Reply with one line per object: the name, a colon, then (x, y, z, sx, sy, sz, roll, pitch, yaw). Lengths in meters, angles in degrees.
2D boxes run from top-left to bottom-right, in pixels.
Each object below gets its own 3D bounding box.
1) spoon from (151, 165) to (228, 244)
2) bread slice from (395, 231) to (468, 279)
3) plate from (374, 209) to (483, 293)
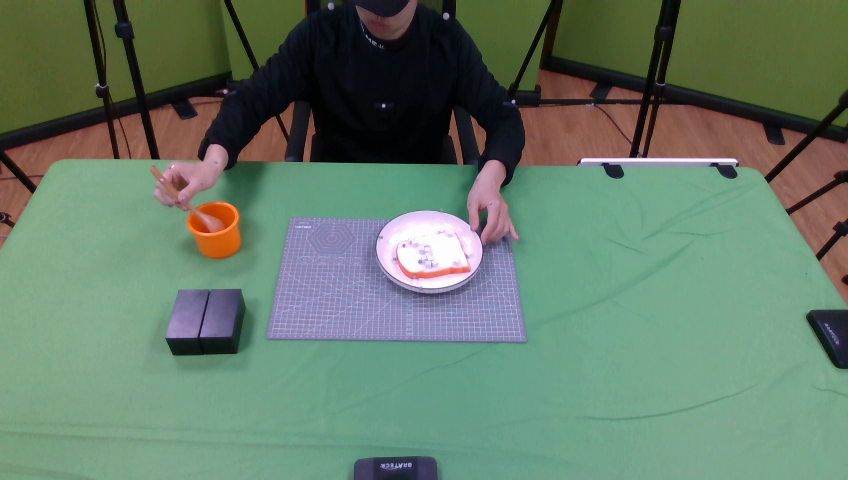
spoon: (-0.422, -0.061, 1.094, 0.021, 0.195, 0.041, -15, 42, 31)
bread slice: (0.011, 0.030, 1.158, 0.132, 0.019, 0.104, -8, 47, -14)
plate: (0.009, 0.024, 1.160, 0.209, 0.038, 0.208, 2, 46, -2)
